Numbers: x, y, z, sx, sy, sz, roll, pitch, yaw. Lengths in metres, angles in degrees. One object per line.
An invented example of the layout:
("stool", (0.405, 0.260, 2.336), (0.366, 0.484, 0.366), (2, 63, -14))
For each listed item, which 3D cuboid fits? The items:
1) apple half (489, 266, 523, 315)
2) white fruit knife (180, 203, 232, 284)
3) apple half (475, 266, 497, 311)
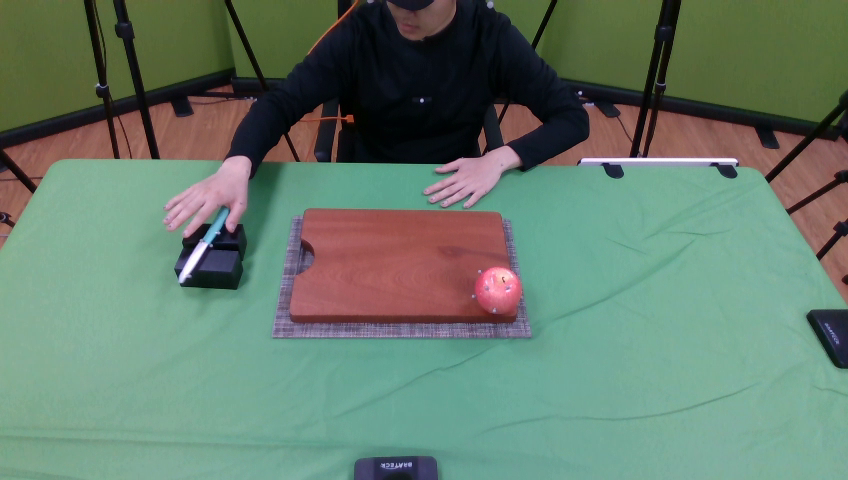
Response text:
("apple half", (0.142, 0.091, 1.043), (0.053, 0.075, 0.080), (10, 44, 1))
("white fruit knife", (-0.394, 0.002, 1.101), (0.027, 0.016, 0.206), (-4, 44, 17))
("apple half", (0.104, 0.085, 1.044), (0.033, 0.081, 0.081), (9, 46, 1))
